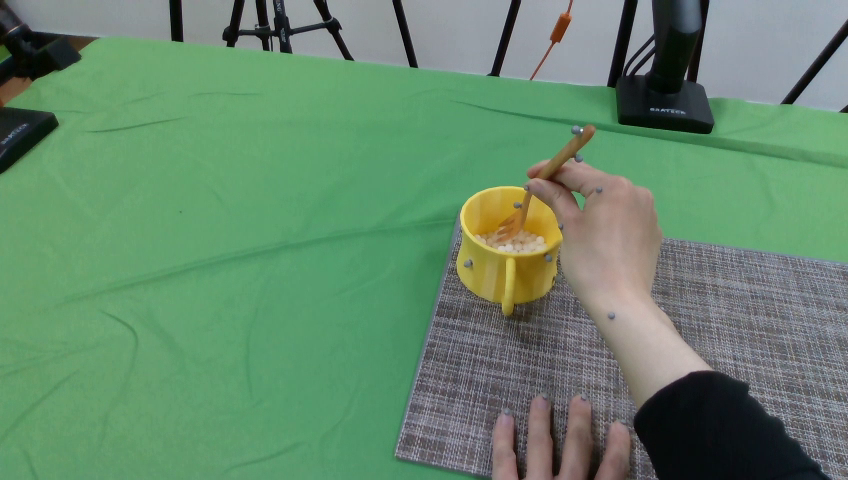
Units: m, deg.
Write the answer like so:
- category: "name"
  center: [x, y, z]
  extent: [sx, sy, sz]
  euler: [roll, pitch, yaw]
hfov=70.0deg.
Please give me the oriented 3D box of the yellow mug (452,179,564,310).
- category: "yellow mug"
  center: [0.077, 0.008, 0.568]
  extent: [0.100, 0.064, 0.129]
  euler: [4, 44, 3]

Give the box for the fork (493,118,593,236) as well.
- category: "fork"
  center: [0.094, -0.047, 0.519]
  extent: [0.018, 0.208, 0.028]
  euler: [15, 68, -4]
